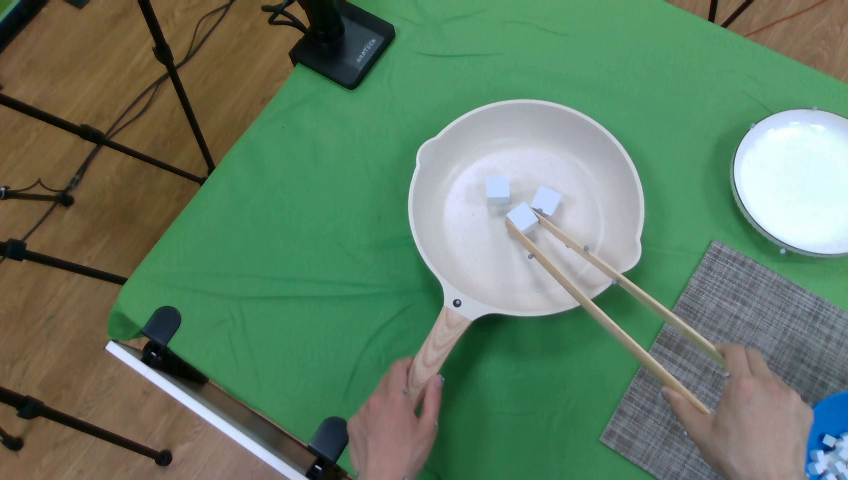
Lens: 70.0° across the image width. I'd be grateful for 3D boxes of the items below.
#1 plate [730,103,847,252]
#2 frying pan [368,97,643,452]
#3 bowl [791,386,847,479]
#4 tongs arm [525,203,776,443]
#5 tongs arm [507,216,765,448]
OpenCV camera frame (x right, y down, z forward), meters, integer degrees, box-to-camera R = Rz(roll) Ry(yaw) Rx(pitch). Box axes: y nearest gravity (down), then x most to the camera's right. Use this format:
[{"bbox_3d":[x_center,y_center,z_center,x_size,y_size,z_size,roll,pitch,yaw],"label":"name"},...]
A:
[{"bbox_3d":[0.502,-0.079,0.787,0.207,0.039,0.206,-1,72,4],"label":"plate"},{"bbox_3d":[0.071,0.038,0.743,0.305,0.103,0.486,29,68,13],"label":"frying pan"},{"bbox_3d":[0.469,0.238,0.661,0.151,0.077,0.150,-1,72,4],"label":"bowl"},{"bbox_3d":[0.220,0.066,0.668,0.051,0.027,0.380,-37,45,-10],"label":"tongs arm"},{"bbox_3d":[0.201,0.079,0.665,0.028,0.028,0.383,-31,45,-9],"label":"tongs arm"}]
